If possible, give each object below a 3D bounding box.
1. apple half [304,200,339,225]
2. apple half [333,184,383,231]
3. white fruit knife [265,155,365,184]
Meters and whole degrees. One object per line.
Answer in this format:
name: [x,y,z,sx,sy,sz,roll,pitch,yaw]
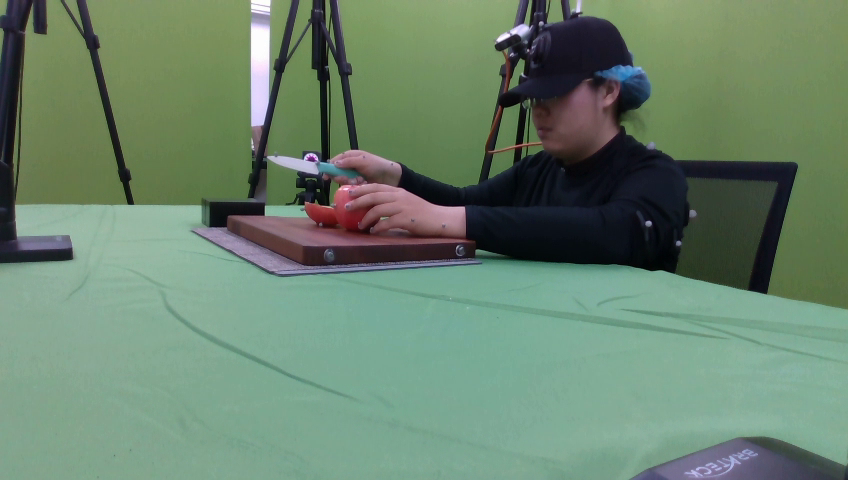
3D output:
apple half: [-0.163,-0.040,1.000,0.081,0.033,0.081,15,-2,1]
apple half: [-0.097,-0.050,0.949,0.081,0.074,0.053,0,11,-42]
white fruit knife: [-0.204,-0.139,1.156,0.208,0.027,0.016,8,-7,-36]
